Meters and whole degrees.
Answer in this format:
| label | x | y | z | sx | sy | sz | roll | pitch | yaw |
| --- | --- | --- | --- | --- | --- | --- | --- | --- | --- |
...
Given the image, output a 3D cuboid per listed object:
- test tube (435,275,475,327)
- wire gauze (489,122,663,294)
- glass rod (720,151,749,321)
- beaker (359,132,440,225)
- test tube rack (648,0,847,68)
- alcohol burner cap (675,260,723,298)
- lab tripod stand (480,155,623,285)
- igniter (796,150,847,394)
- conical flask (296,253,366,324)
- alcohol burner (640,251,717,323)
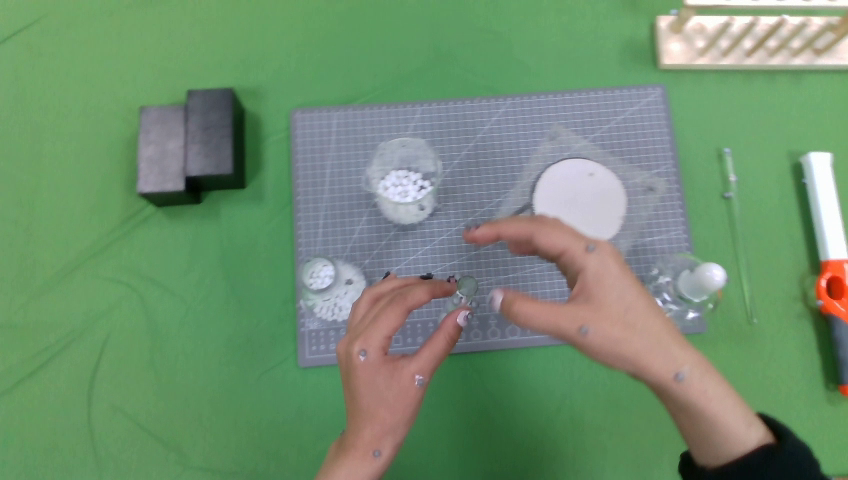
| label | x | y | z | sx | sy | sz | roll | pitch | yaw |
| --- | --- | --- | --- | --- | --- | --- | --- | --- | --- |
| test tube | 0.023 | 0.052 | 0.485 | 0.017 | 0.151 | 0.017 | 1 | 73 | -4 |
| wire gauze | 0.141 | -0.034 | 0.561 | 0.125 | 0.011 | 0.121 | 32 | 80 | 5 |
| glass rod | 0.357 | -0.007 | 0.697 | 0.008 | 0.008 | 0.199 | -3 | 81 | -2 |
| beaker | -0.026 | -0.059 | 0.648 | 0.084 | 0.100 | 0.073 | -21 | 78 | -5 |
| test tube rack | 0.400 | -0.254 | 0.711 | 0.242 | 0.085 | 0.066 | -1 | 77 | -1 |
| alcohol burner cap | 0.271 | 0.036 | 0.591 | 0.034 | 0.048 | 0.033 | 1 | 71 | -3 |
| lab tripod stand | 0.137 | -0.021 | 0.627 | 0.148 | 0.132 | 0.147 | 0 | 79 | 0 |
| igniter | 0.459 | 0.031 | 0.681 | 0.057 | 0.025 | 0.275 | 0 | 78 | -12 |
| conical flask | -0.100 | 0.043 | 0.612 | 0.075 | 0.122 | 0.075 | 0 | 77 | -1 |
| alcohol burner | 0.270 | 0.045 | 0.626 | 0.078 | 0.119 | 0.077 | 0 | 77 | 2 |
